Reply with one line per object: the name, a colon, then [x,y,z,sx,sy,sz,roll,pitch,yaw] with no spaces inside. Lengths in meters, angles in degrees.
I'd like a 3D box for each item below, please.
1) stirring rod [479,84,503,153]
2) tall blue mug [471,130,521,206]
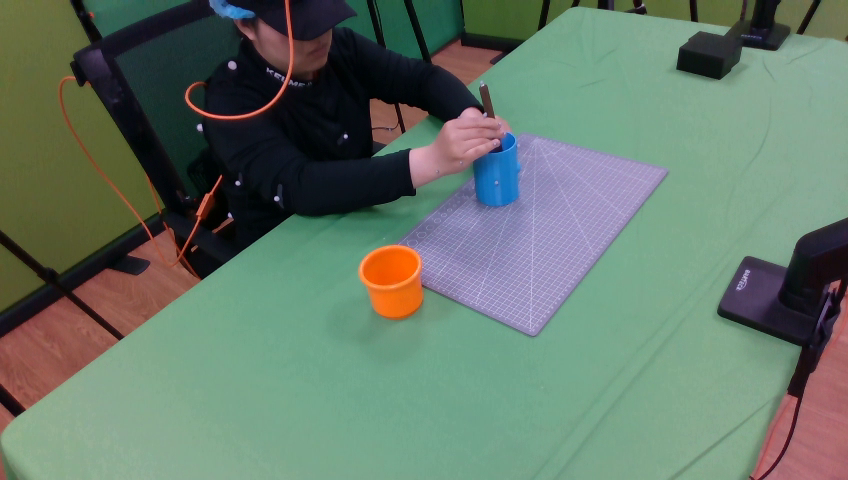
stirring rod: [0.114,-0.173,0.974,0.014,0.177,0.005,-28,41,-7]
tall blue mug: [0.118,-0.132,1.046,0.078,0.108,0.106,-20,41,-10]
